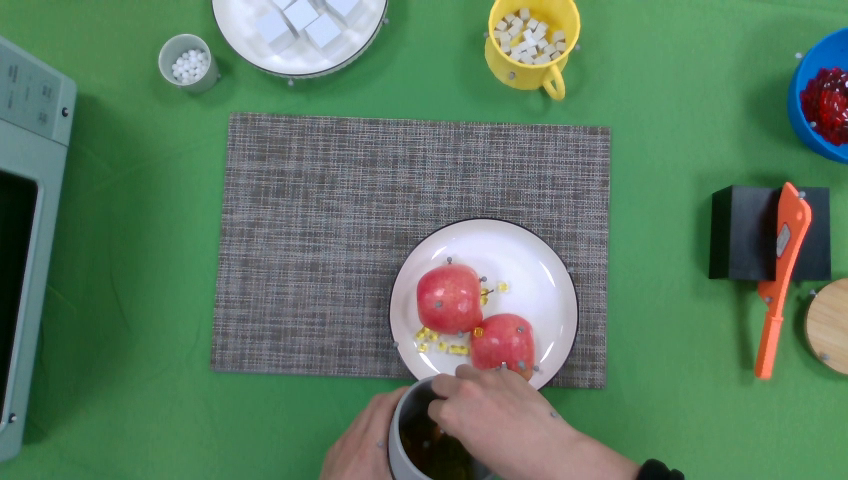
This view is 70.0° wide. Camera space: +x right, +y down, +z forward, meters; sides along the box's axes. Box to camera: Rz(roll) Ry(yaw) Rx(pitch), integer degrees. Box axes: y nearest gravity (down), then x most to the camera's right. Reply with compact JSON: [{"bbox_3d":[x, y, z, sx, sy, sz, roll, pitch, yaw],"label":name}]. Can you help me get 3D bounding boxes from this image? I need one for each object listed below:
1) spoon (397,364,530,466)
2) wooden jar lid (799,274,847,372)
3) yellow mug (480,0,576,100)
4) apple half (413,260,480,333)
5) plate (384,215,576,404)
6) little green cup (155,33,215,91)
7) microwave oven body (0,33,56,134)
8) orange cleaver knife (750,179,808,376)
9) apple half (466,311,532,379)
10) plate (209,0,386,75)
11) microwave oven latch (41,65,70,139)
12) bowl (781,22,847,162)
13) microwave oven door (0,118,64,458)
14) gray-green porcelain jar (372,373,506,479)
[{"bbox_3d":[0.025,0.165,0.557,0.194,0.022,0.041,-43,69,33],"label":"spoon"},{"bbox_3d":[0.471,0.092,0.674,0.108,0.021,0.108,0,85,3],"label":"wooden jar lid"},{"bbox_3d":[0.123,-0.220,0.689,0.100,0.064,0.130,-26,86,-1],"label":"yellow mug"},{"bbox_3d":[0.024,0.062,0.661,0.074,0.053,0.080,0,86,4],"label":"apple half"},{"bbox_3d":[0.061,0.076,0.674,0.209,0.038,0.208,0,86,1],"label":"plate"},{"bbox_3d":[-0.277,-0.206,0.710,0.061,0.038,0.061,0,86,1],"label":"little green cup"},{"bbox_3d":[-0.597,-0.007,0.588,0.326,0.260,0.440,6,86,2],"label":"microwave oven body"},{"bbox_3d":[0.371,0.042,0.651,0.012,0.077,0.212,4,109,5],"label":"orange cleaver knife"},{"bbox_3d":[0.083,0.117,0.664,0.081,0.033,0.081,0,82,2],"label":"apple half"},{"bbox_3d":[-0.146,-0.292,0.716,0.207,0.039,0.207,0,85,2],"label":"plate"},{"bbox_3d":[-0.429,-0.158,0.693,0.030,0.029,0.079,9,86,2],"label":"microwave oven latch"},{"bbox_3d":[0.459,-0.152,0.667,0.151,0.077,0.151,0,85,2],"label":"bowl"},{"bbox_3d":[-0.456,0.049,0.574,0.039,0.244,0.355,5,85,3],"label":"microwave oven door"},{"bbox_3d":[0.008,0.203,0.575,0.106,0.127,0.105,10,47,-10],"label":"gray-green porcelain jar"}]
